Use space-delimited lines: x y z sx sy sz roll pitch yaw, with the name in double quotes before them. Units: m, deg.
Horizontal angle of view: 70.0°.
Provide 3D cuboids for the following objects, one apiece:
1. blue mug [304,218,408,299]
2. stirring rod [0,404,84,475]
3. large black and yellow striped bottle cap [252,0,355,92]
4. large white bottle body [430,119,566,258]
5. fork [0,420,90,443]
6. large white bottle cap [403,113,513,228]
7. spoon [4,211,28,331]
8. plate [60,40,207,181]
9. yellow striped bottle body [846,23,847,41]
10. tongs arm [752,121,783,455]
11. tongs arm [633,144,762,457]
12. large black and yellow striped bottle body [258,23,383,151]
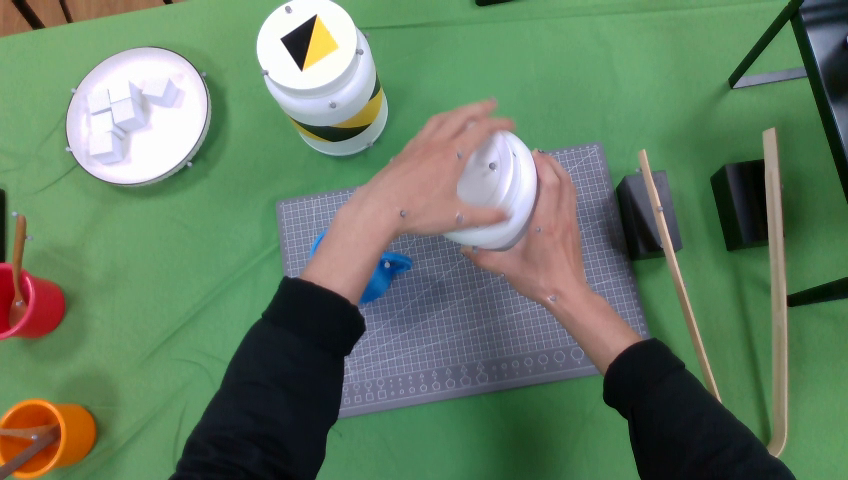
"blue mug" -0.077 0.025 0.749 0.116 0.106 0.082 -3 77 3
"stirring rod" -0.483 0.256 0.716 0.014 0.006 0.175 36 40 8
"large black and yellow striped bottle cap" -0.136 -0.223 0.682 0.115 0.019 0.114 -1 79 3
"large white bottle body" 0.073 -0.056 0.674 0.130 0.186 0.130 -5 78 27
"fork" -0.512 0.223 0.719 0.209 0.018 0.028 18 74 -36
"large white bottle cap" 0.032 -0.070 0.601 0.114 0.018 0.114 -6 78 27
"spoon" -0.514 0.043 0.760 0.041 0.021 0.195 36 126 14
"plate" -0.403 -0.179 0.853 0.207 0.039 0.206 -1 78 4
"yellow striped bottle body" 0.465 -0.226 0.571 0.063 0.121 0.062 -1 77 4
"tongs arm" 0.401 0.055 0.712 0.028 0.028 0.387 -1 89 -5
"tongs arm" 0.320 0.069 0.712 0.051 0.026 0.384 -14 89 -2
"large black and yellow striped bottle body" -0.129 -0.203 0.763 0.131 0.185 0.130 -1 77 4
